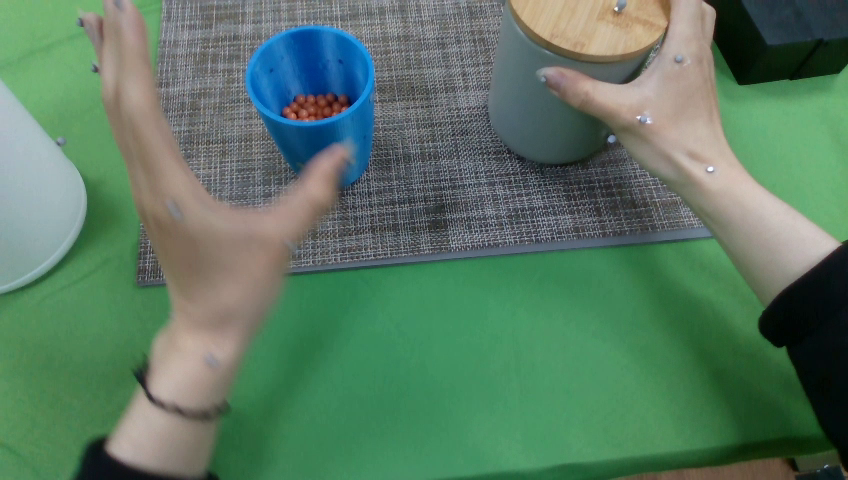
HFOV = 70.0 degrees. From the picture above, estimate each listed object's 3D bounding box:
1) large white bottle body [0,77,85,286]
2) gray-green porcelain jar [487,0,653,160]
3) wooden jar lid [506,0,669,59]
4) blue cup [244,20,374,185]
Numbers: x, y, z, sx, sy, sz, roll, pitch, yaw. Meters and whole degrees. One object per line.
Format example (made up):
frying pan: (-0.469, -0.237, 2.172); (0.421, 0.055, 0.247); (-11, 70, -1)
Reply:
large white bottle body: (-0.317, -0.059, 0.374); (0.131, 0.186, 0.129); (1, 64, -2)
gray-green porcelain jar: (0.104, -0.130, 0.456); (0.106, 0.127, 0.105); (1, 64, -2)
wooden jar lid: (0.105, -0.158, 0.400); (0.108, 0.021, 0.107); (2, 63, -4)
blue cup: (-0.076, -0.091, 0.443); (0.093, 0.101, 0.092); (1, 65, -1)
